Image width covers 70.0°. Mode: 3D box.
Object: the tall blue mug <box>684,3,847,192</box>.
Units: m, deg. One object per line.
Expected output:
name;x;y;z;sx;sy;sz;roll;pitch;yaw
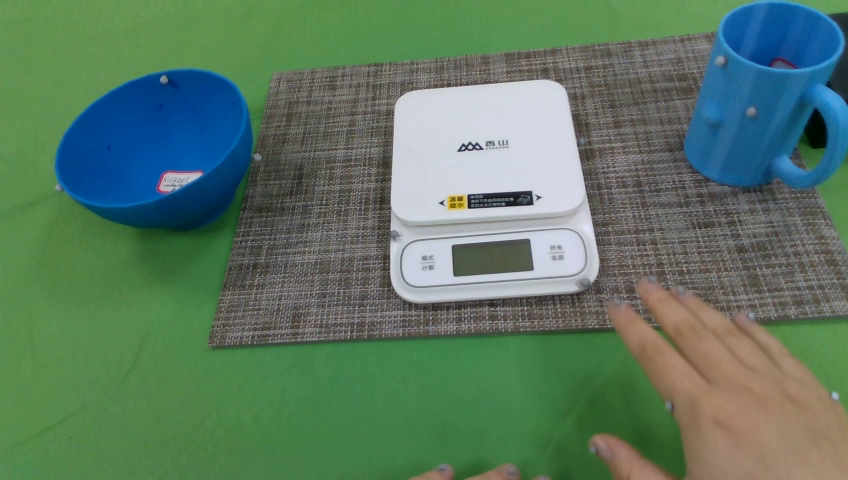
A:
tall blue mug;0.251;-0.093;0.430;0.106;0.109;0.077;31;63;27

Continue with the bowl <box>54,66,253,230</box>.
bowl;-0.203;-0.061;0.493;0.151;0.077;0.150;-4;54;5

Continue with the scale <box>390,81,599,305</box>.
scale;0.049;-0.045;0.471;0.148;0.032;0.199;-4;55;5
